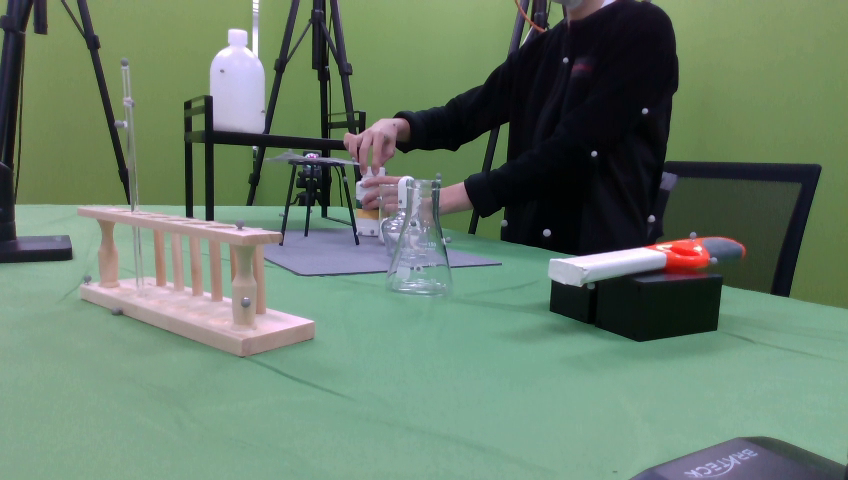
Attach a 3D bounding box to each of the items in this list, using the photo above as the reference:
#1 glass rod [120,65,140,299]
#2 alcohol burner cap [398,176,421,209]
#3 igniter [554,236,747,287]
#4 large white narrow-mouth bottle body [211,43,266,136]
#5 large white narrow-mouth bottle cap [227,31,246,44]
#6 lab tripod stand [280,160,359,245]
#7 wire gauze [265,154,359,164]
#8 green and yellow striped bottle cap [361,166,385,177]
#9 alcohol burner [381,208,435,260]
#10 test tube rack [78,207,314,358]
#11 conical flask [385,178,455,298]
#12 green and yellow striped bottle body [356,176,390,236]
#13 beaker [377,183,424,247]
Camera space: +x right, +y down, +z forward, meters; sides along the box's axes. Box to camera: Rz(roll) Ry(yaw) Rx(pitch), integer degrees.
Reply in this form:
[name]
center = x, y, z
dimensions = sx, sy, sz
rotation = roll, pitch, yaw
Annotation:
[glass rod]
center = -0.249, -0.047, 0.513
dimensions = 0.008, 0.199, 0.008
rotation = -1, 4, 0
[alcohol burner cap]
center = -0.023, -0.068, 0.866
dimensions = 0.034, 0.048, 0.034
rotation = -5, 8, 1
[igniter]
center = 0.221, 0.017, 0.558
dimensions = 0.278, 0.025, 0.057
rotation = -5, 15, -39
[large white narrow-mouth bottle body]
center = -0.361, -0.302, 1.176
dimensions = 0.102, 0.194, 0.102
rotation = 1, 7, 0
[large white narrow-mouth bottle cap]
center = -0.361, -0.388, 1.165
dimensions = 0.038, 0.024, 0.037
rotation = 1, 7, 0
[lab tripod stand]
center = -0.176, -0.062, 0.973
dimensions = 0.148, 0.131, 0.148
rotation = 1, 7, 0
[wire gauze]
center = -0.181, -0.129, 0.969
dimensions = 0.126, 0.011, 0.121
rotation = -1, 7, -27
[green and yellow striped bottle cap]
center = -0.092, -0.125, 1.103
dimensions = 0.045, 0.020, 0.045
rotation = 4, 8, 0
[alcohol burner]
center = -0.023, -0.032, 0.872
dimensions = 0.078, 0.119, 0.078
rotation = 0, 6, 0
[test tube rack]
center = -0.196, 0.024, 0.500
dimensions = 0.241, 0.085, 0.067
rotation = 8, 8, 37
[conical flask]
center = -0.002, -0.004, 0.639
dimensions = 0.075, 0.122, 0.075
rotation = 2, 7, 0
[green and yellow striped bottle body]
center = -0.094, -0.069, 1.108
dimensions = 0.063, 0.119, 0.063
rotation = 2, 8, 0
[beaker]
center = -0.038, -0.041, 0.995
dimensions = 0.074, 0.100, 0.083
rotation = -5, 12, -44
